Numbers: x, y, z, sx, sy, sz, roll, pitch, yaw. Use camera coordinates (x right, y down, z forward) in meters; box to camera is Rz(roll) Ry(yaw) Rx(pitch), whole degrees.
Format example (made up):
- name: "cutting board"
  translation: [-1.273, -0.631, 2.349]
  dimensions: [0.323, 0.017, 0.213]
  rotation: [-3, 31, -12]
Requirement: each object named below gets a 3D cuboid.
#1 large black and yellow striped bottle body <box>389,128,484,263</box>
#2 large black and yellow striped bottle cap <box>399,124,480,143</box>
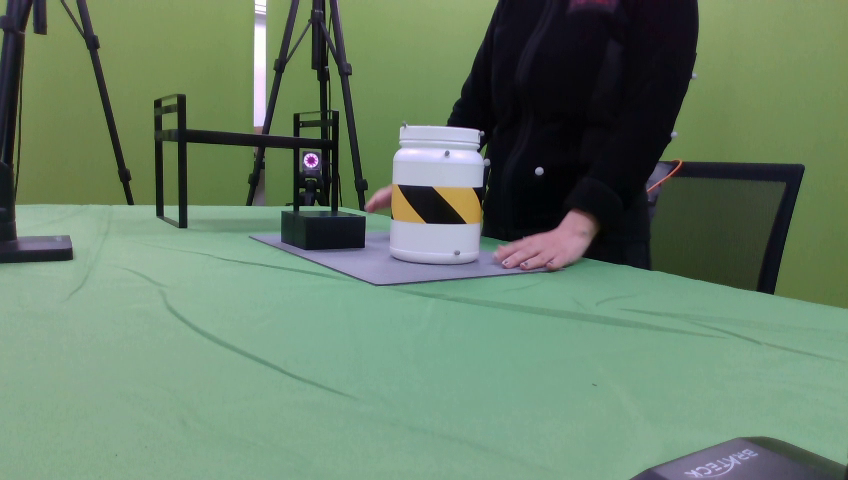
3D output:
- name: "large black and yellow striped bottle body"
  translation: [0.018, -0.067, 0.860]
  dimensions: [0.131, 0.184, 0.130]
  rotation: [2, 7, 0]
- name: "large black and yellow striped bottle cap"
  translation: [0.022, -0.149, 0.850]
  dimensions: [0.115, 0.019, 0.115]
  rotation: [3, 8, 0]
